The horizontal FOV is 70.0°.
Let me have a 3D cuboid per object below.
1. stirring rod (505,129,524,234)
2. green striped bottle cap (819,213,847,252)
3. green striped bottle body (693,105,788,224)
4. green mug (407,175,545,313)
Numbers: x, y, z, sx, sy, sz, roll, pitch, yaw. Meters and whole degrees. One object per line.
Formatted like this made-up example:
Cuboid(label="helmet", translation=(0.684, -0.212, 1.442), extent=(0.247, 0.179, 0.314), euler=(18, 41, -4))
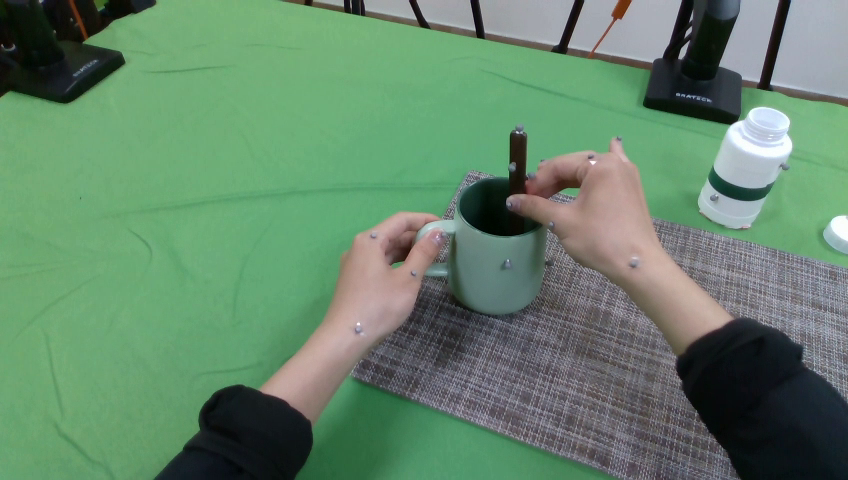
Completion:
Cuboid(label="stirring rod", translation=(0.077, -0.026, 0.521), extent=(0.014, 0.178, 0.006), euler=(13, 54, 17))
Cuboid(label="green striped bottle cap", translation=(0.440, -0.008, 0.631), extent=(0.044, 0.020, 0.044), euler=(1, 43, -1))
Cuboid(label="green striped bottle body", translation=(0.328, -0.079, 0.627), extent=(0.063, 0.120, 0.062), euler=(0, 46, 0))
Cuboid(label="green mug", translation=(0.047, 0.007, 0.548), extent=(0.125, 0.106, 0.091), euler=(-6, 47, -6))
